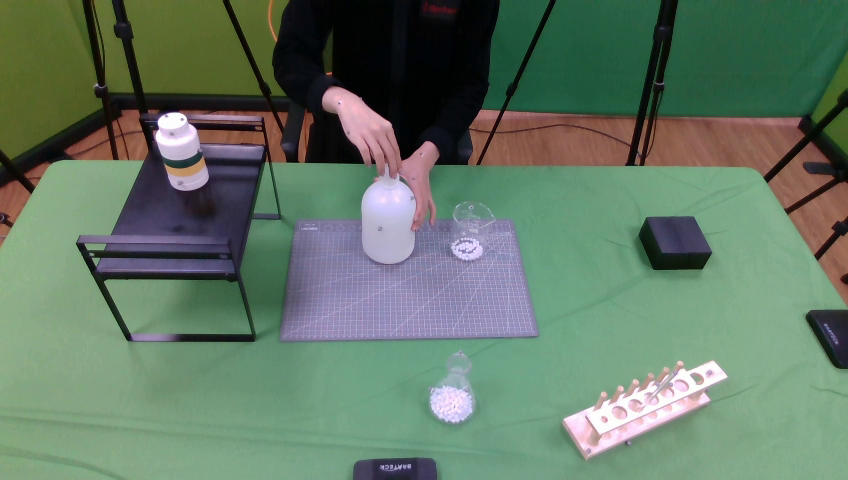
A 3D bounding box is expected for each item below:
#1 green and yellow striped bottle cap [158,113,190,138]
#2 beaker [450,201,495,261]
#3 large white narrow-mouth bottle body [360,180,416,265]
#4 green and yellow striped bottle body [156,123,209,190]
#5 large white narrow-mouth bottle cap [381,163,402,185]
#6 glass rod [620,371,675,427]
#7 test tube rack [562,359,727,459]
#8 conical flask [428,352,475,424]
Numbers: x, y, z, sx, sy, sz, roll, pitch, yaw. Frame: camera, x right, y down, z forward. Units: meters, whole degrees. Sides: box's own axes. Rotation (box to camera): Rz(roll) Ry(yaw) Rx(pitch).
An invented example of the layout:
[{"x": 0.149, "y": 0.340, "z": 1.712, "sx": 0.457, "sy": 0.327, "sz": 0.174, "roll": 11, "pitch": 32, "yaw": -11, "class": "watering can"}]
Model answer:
[{"x": -0.393, "y": -0.180, "z": 0.951, "sx": 0.045, "sy": 0.020, "sz": 0.045, "roll": 2, "pitch": 44, "yaw": -2, "class": "green and yellow striped bottle cap"}, {"x": 0.089, "y": -0.014, "z": 1.160, "sx": 0.084, "sy": 0.101, "sz": 0.073, "roll": 9, "pitch": 47, "yaw": 4, "class": "beaker"}, {"x": -0.066, "y": -0.050, "z": 1.119, "sx": 0.102, "sy": 0.195, "sz": 0.101, "roll": 4, "pitch": 45, "yaw": -4, "class": "large white narrow-mouth bottle body"}, {"x": -0.395, "y": -0.145, "z": 0.989, "sx": 0.063, "sy": 0.120, "sz": 0.063, "roll": 2, "pitch": 46, "yaw": -2, "class": "green and yellow striped bottle body"}, {"x": -0.057, "y": -0.115, "z": 1.052, "sx": 0.038, "sy": 0.024, "sz": 0.037, "roll": 4, "pitch": 45, "yaw": -4, "class": "large white narrow-mouth bottle cap"}, {"x": 0.316, "y": 0.230, "z": 0.863, "sx": 0.008, "sy": 0.200, "sz": 0.008, "roll": 3, "pitch": 54, "yaw": -3, "class": "glass rod"}, {"x": 0.341, "y": 0.247, "z": 0.940, "sx": 0.243, "sy": 0.085, "sz": 0.066, "roll": -16, "pitch": 49, "yaw": -18, "class": "test tube rack"}, {"x": 0.046, "y": 0.220, "z": 0.920, "sx": 0.075, "sy": 0.122, "sz": 0.075, "roll": 2, "pitch": 46, "yaw": -2, "class": "conical flask"}]
